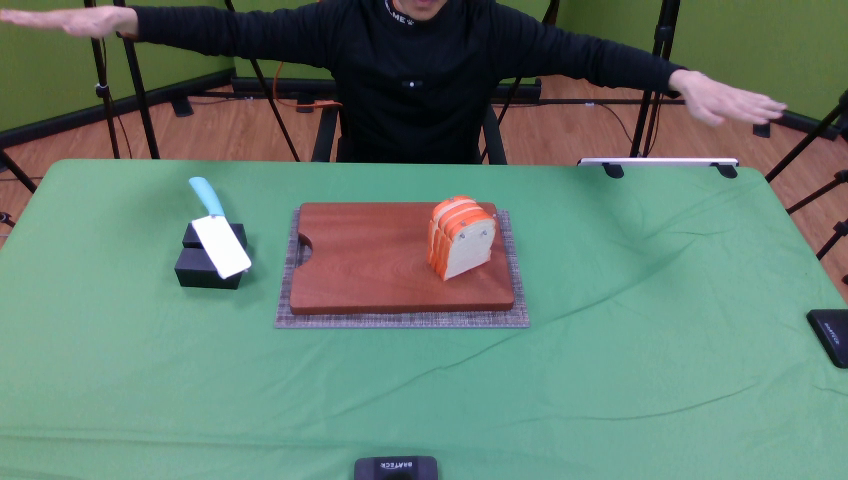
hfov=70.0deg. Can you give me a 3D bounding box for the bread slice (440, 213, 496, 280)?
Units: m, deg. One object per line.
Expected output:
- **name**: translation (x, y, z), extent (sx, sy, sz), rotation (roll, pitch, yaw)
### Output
- **bread slice**: translation (0.078, 0.008, 1.077), extent (0.107, 0.135, 0.018), rotation (-24, 55, -21)

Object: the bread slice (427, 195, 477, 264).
- **bread slice**: translation (0.052, -0.024, 1.107), extent (0.105, 0.132, 0.019), rotation (-22, 46, -25)

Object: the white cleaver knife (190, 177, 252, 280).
- **white cleaver knife**: translation (-0.397, -0.031, 1.137), extent (0.066, 0.021, 0.284), rotation (-21, 49, -23)
